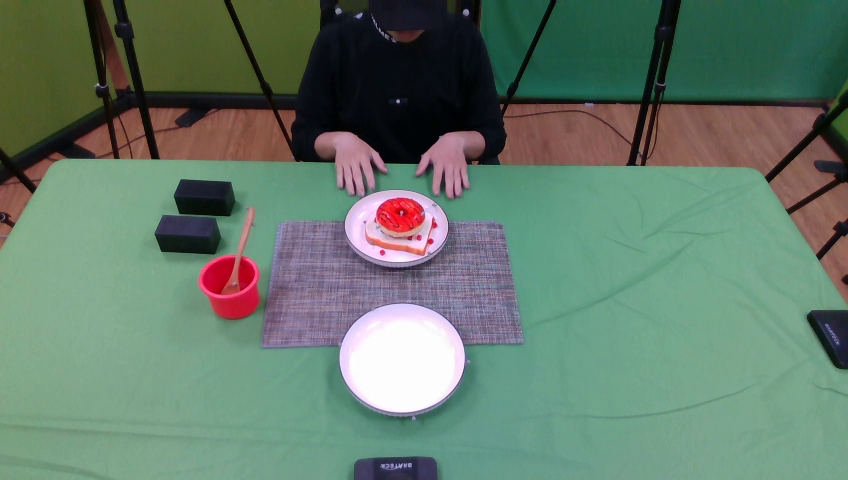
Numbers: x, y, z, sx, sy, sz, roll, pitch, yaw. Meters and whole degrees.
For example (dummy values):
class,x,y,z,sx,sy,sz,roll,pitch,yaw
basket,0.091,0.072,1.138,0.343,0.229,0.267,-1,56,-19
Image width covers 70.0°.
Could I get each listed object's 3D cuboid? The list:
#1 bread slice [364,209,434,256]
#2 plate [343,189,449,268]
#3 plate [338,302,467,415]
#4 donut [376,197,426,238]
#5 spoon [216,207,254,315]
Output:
class,x,y,z,sx,sy,sz,roll,pitch,yaw
bread slice,-0.053,-0.020,1.199,0.131,0.019,0.104,10,46,4
plate,-0.055,-0.020,1.195,0.209,0.038,0.208,2,46,-2
plate,-0.035,0.194,0.992,0.208,0.039,0.206,2,48,-2
donut,-0.045,-0.046,1.174,0.099,0.048,0.098,3,45,-3
spoon,-0.322,0.036,1.053,0.041,0.021,0.193,14,90,11
